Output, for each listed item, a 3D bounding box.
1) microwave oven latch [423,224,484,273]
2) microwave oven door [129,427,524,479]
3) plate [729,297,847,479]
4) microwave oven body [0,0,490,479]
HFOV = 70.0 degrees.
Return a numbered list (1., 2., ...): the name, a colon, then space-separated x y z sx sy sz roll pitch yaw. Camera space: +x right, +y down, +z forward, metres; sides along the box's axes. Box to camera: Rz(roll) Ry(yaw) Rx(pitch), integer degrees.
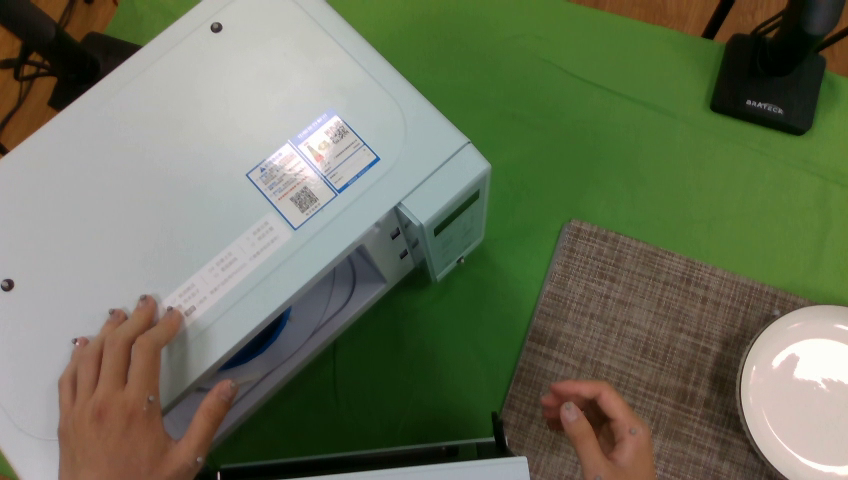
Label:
1. microwave oven latch: 0.034 0.002 0.703 0.079 0.029 0.030 -40 77 -6
2. microwave oven door: -0.094 0.213 0.552 0.356 0.245 0.039 -7 76 2
3. plate: 0.432 0.167 0.652 0.207 0.039 0.206 -1 76 3
4. microwave oven body: -0.203 -0.008 0.620 0.441 0.261 0.324 -42 78 -6
